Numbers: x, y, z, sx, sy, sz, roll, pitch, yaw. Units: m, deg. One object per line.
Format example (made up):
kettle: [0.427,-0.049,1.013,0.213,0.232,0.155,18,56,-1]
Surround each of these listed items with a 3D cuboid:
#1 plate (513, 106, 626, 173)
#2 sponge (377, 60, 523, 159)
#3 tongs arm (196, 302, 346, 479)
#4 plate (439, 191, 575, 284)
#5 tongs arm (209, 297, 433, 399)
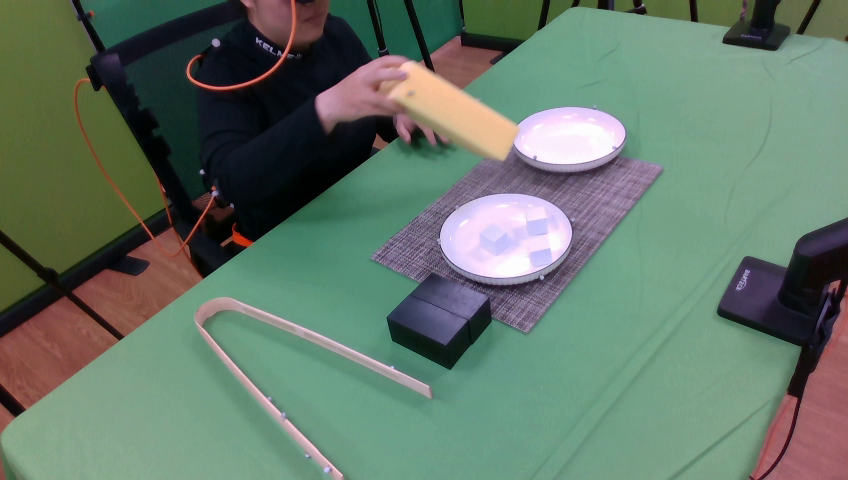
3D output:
plate: [0.269,-0.185,1.132,0.209,0.038,0.208,-5,40,5]
sponge: [0.040,-0.206,0.964,0.061,0.208,0.117,-64,27,3]
tongs arm: [-0.206,0.185,0.791,0.381,0.026,0.051,28,51,37]
plate: [0.128,-0.002,0.942,0.207,0.039,0.206,-5,40,5]
tongs arm: [-0.153,0.143,0.837,0.385,0.028,0.028,17,49,28]
